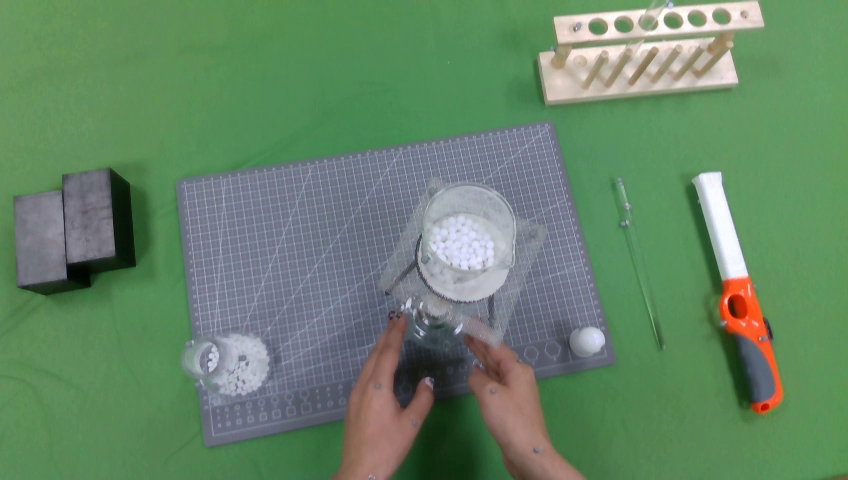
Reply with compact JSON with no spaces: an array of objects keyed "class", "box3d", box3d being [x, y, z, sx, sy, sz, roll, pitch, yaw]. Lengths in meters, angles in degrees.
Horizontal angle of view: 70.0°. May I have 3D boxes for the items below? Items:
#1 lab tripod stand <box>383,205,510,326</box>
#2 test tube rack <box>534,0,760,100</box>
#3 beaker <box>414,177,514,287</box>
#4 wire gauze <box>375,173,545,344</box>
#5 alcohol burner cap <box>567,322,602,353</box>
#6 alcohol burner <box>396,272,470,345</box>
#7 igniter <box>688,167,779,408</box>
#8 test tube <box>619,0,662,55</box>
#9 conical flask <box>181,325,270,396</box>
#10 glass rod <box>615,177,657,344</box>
[{"class":"lab tripod stand","box3d":[0.029,0.028,0.622,0.148,0.132,0.147,0,78,-2]},{"class":"test tube rack","box3d":[0.263,-0.228,0.722,0.242,0.085,0.066,-7,76,-4]},{"class":"beaker","box3d":[0.033,0.000,0.511,0.084,0.100,0.074,40,79,7]},{"class":"wire gauze","box3d":[0.034,0.014,0.557,0.125,0.011,0.121,26,80,2]},{"class":"alcohol burner cap","box3d":[0.176,0.104,0.658,0.034,0.048,0.033,1,75,-3]},{"class":"alcohol burner","box3d":[0.010,0.068,0.621,0.078,0.119,0.077,0,77,0]},{"class":"igniter","box3d":[0.352,0.049,0.691,0.057,0.025,0.275,-6,77,-15]},{"class":"test tube","box3d":[0.246,-0.251,0.676,0.017,0.151,0.017,0,76,0]},{"class":"conical flask","box3d":[-0.199,0.115,0.595,0.075,0.122,0.075,1,76,-3]},{"class":"glass rod","box3d":[0.245,0.021,0.701,0.008,0.008,0.199,-8,80,-5]}]
